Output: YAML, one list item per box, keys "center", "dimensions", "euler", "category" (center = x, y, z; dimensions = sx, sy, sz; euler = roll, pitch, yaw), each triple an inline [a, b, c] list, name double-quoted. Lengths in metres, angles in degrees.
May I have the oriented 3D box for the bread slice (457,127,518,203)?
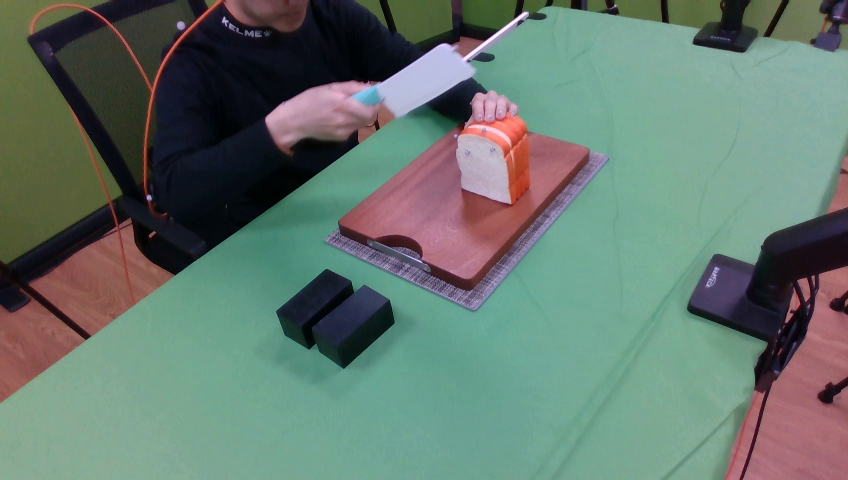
- center: [0.097, -0.121, 0.970]
  dimensions: [0.104, 0.132, 0.019]
  euler: [20, 54, 30]
  category: "bread slice"

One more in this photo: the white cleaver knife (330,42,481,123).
- center: [-0.039, -0.209, 0.865]
  dimensions: [0.284, 0.066, 0.021]
  euler: [-11, 47, 46]
  category: "white cleaver knife"

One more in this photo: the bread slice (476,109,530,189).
- center: [0.129, -0.151, 0.999]
  dimensions: [0.106, 0.135, 0.018]
  euler: [24, 48, 28]
  category: "bread slice"
